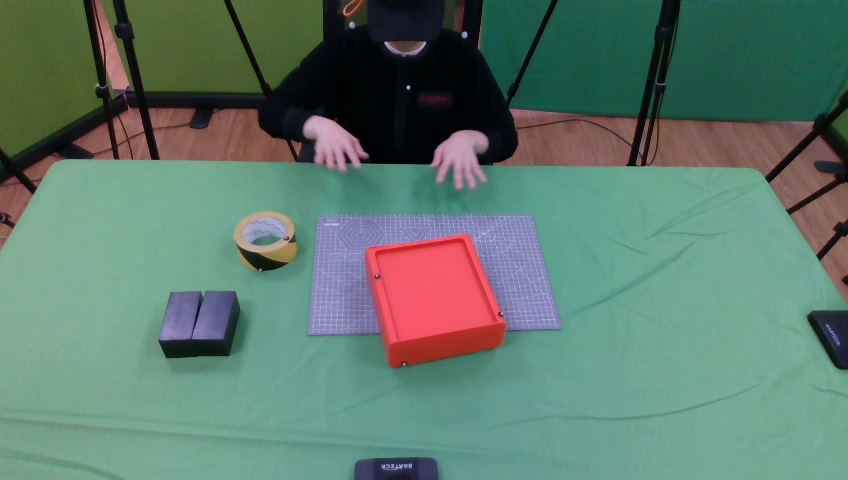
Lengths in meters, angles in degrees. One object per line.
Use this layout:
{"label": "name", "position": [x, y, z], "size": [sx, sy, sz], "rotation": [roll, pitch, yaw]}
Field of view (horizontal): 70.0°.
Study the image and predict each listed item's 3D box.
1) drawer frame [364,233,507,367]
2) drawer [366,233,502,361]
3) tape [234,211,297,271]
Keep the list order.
{"label": "drawer frame", "position": [0.013, 0.098, 1.058], "size": [0.202, 0.083, 0.212], "rotation": [-9, 48, -12]}
{"label": "drawer", "position": [0.012, 0.095, 1.063], "size": [0.195, 0.073, 0.210], "rotation": [-7, 48, -12]}
{"label": "tape", "position": [-0.301, 0.002, 1.154], "size": [0.117, 0.053, 0.116], "rotation": [2, 46, -1]}
